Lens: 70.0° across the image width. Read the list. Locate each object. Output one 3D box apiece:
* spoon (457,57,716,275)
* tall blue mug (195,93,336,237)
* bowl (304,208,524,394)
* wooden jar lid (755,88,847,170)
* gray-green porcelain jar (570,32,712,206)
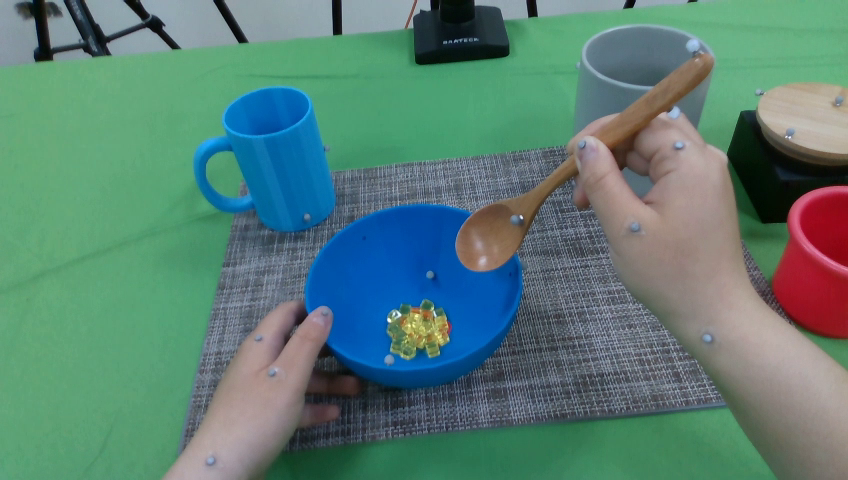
[{"bbox_3d":[0.080,-0.033,0.343,0.022,0.194,0.041,-7,66,-37],"label":"spoon"},{"bbox_3d":[-0.138,-0.058,0.545,0.077,0.109,0.107,31,56,30],"label":"tall blue mug"},{"bbox_3d":[-0.004,0.055,0.439,0.151,0.077,0.150,-3,45,3],"label":"bowl"},{"bbox_3d":[0.345,-0.096,0.527,0.108,0.021,0.107,-4,45,4],"label":"wooden jar lid"},{"bbox_3d":[0.187,-0.102,0.540,0.106,0.128,0.105,-3,45,4],"label":"gray-green porcelain jar"}]
